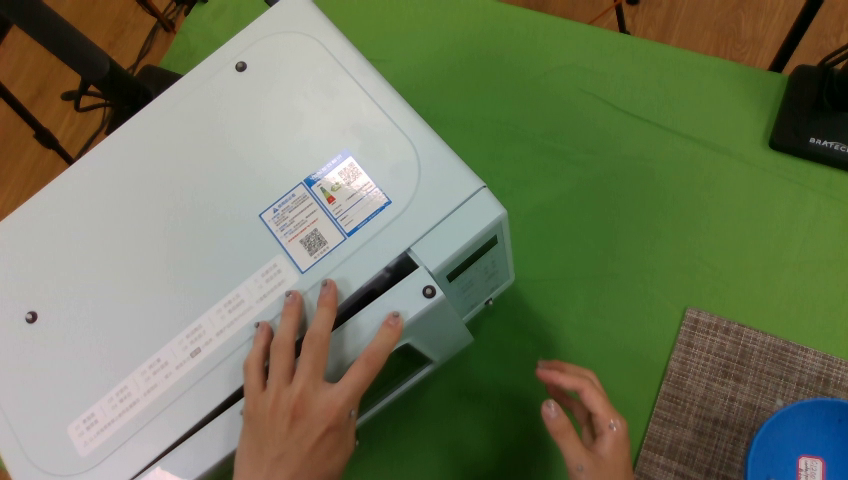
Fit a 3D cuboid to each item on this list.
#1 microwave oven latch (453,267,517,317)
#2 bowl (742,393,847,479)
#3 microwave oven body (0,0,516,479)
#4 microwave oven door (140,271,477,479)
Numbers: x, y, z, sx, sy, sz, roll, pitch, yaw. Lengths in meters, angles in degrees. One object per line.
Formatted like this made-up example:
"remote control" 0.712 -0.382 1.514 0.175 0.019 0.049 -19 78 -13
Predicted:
"microwave oven latch" 0.068 0.050 0.676 0.079 0.030 0.030 -38 71 -2
"bowl" 0.369 0.221 0.566 0.151 0.077 0.150 -3 73 9
"microwave oven body" -0.177 0.030 0.622 0.441 0.262 0.323 -40 72 -3
"microwave oven door" -0.113 0.167 0.566 0.356 0.245 0.039 -37 70 -2
